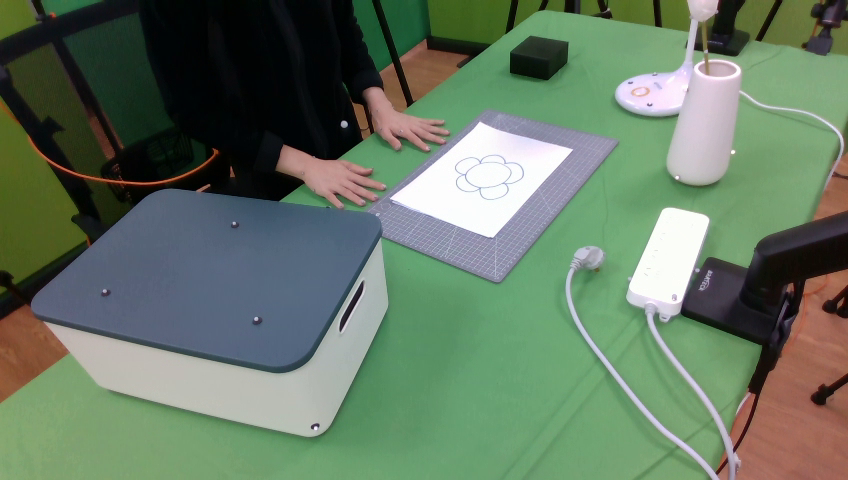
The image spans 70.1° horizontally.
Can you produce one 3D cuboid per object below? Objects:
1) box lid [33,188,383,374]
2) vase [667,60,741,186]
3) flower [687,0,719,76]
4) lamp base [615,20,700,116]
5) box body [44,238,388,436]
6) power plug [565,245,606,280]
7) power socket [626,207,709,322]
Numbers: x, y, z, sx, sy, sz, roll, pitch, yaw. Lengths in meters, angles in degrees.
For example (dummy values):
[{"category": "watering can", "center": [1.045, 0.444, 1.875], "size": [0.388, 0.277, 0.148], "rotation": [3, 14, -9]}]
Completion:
[{"category": "box lid", "center": [-0.257, 0.032, 0.751], "size": [0.370, 0.015, 0.263], "rotation": [8, 42, 16]}, {"category": "vase", "center": [0.463, -0.189, 0.994], "size": [0.098, 0.201, 0.097], "rotation": [-4, 40, 4]}, {"category": "flower", "center": [0.436, -0.242, 0.934], "size": [0.038, 0.364, 0.043], "rotation": [-24, 49, 8]}, {"category": "lamp base", "center": [0.484, -0.364, 1.211], "size": [0.180, 0.181, 0.159], "rotation": [-15, 41, -14]}, {"category": "box body", "center": [-0.251, 0.088, 0.800], "size": [0.362, 0.161, 0.254], "rotation": [7, 42, 16]}, {"category": "power plug", "center": [0.234, 0.037, 0.889], "size": [0.072, 0.053, 0.035], "rotation": [-42, 37, 1]}, {"category": "power socket", "center": [0.360, 0.026, 0.886], "size": [0.072, 0.033, 0.227], "rotation": [17, 46, 26]}]
